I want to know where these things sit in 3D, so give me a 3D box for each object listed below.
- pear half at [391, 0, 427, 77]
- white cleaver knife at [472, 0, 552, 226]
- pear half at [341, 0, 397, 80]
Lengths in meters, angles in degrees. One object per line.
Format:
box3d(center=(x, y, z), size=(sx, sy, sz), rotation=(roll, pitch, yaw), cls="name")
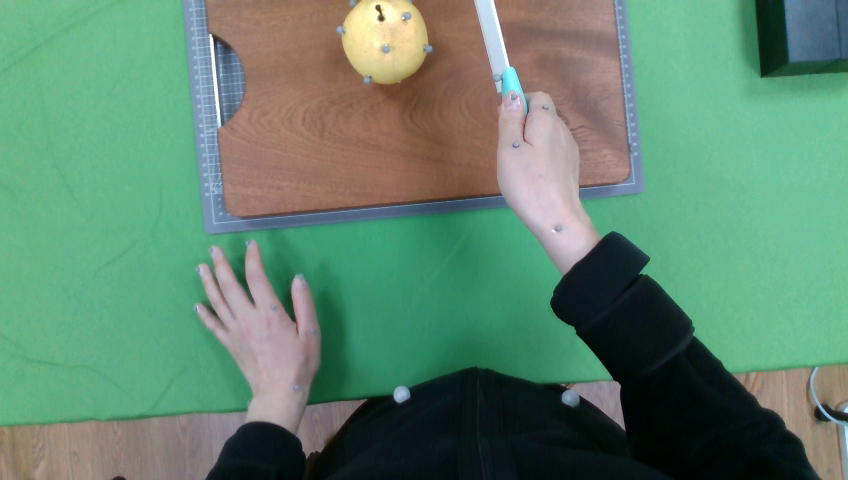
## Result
box3d(center=(-0.013, -0.187, 0.550), size=(0.031, 0.088, 0.070), rotation=(-2, 84, -1), cls="pear half")
box3d(center=(0.061, -0.150, 0.492), size=(0.021, 0.065, 0.287), rotation=(-15, 99, -2), cls="white cleaver knife")
box3d(center=(-0.048, -0.188, 0.540), size=(0.056, 0.110, 0.076), rotation=(-3, 84, 1), cls="pear half")
